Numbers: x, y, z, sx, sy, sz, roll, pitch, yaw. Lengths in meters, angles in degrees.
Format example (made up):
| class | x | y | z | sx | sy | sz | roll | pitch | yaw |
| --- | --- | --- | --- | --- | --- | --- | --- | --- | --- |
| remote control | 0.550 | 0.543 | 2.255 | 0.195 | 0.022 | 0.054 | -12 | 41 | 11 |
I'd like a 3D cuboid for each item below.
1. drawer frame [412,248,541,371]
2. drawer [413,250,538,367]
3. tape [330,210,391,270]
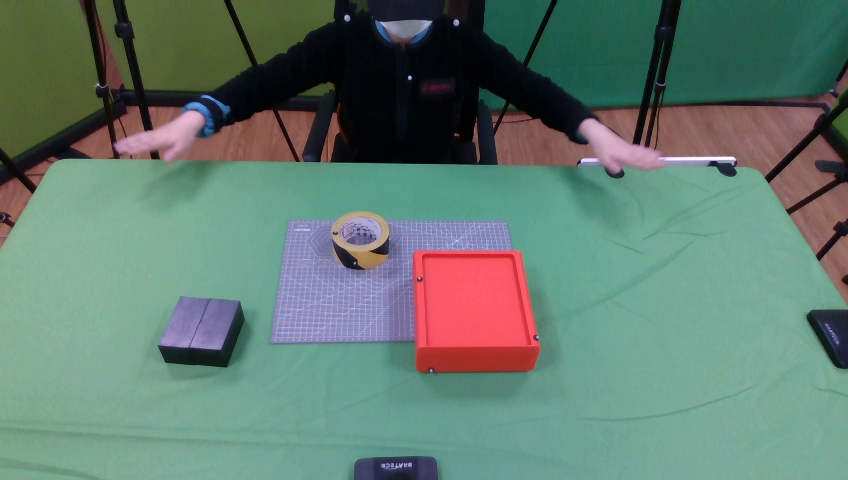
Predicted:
| class | x | y | z | sx | sy | sz | roll | pitch | yaw |
| --- | --- | --- | --- | --- | --- | --- | --- | --- | --- |
| drawer frame | 0.082 | 0.116 | 1.046 | 0.202 | 0.083 | 0.212 | 0 | 47 | -4 |
| drawer | 0.080 | 0.114 | 1.047 | 0.195 | 0.073 | 0.210 | 1 | 47 | -4 |
| tape | -0.123 | -0.002 | 1.164 | 0.117 | 0.053 | 0.116 | 3 | 46 | -3 |
